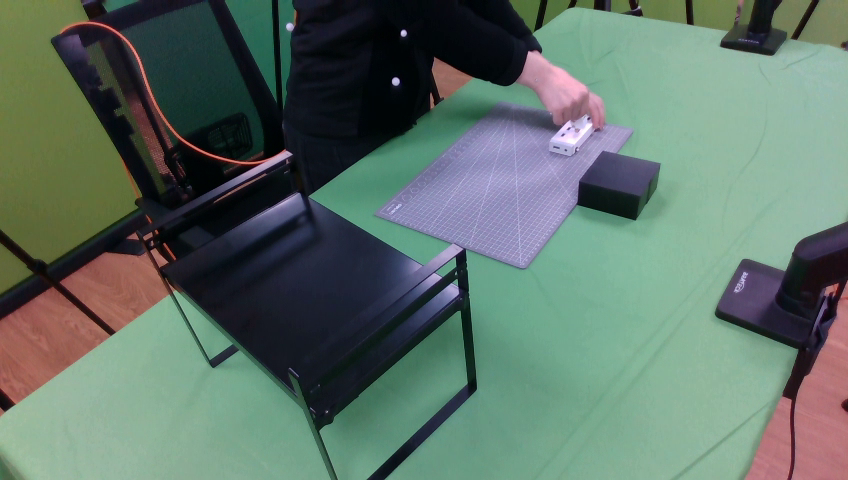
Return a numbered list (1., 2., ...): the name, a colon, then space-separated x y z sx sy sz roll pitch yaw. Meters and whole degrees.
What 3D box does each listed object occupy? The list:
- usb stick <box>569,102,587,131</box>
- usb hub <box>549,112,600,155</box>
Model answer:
1. usb stick: 0.288 -0.228 1.128 0.027 0.059 0.021 17 57 31
2. usb hub: 0.291 -0.208 1.166 0.049 0.025 0.125 22 49 29
